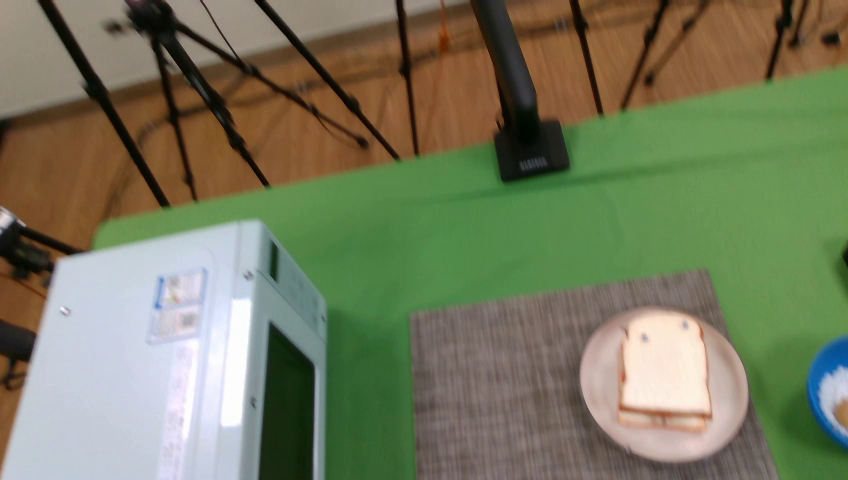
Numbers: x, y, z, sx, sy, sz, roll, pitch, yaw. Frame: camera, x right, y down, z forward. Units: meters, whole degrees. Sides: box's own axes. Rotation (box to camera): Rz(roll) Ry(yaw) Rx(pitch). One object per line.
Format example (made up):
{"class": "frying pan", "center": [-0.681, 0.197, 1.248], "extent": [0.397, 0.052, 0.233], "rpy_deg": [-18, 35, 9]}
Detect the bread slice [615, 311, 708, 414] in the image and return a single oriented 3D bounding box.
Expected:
{"class": "bread slice", "center": [0.295, 0.149, 0.759], "extent": [0.104, 0.019, 0.130], "rpy_deg": [-2, 56, 21]}

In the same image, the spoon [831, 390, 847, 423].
{"class": "spoon", "center": [0.568, 0.167, 0.685], "extent": [0.193, 0.022, 0.041], "rpy_deg": [-27, 49, 24]}

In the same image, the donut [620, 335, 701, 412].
{"class": "donut", "center": [0.301, 0.170, 0.776], "extent": [0.099, 0.049, 0.098], "rpy_deg": [-4, 61, 8]}

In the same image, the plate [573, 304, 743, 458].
{"class": "plate", "center": [0.305, 0.185, 0.803], "extent": [0.207, 0.039, 0.205], "rpy_deg": [-7, 57, 11]}

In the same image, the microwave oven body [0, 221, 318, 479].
{"class": "microwave oven body", "center": [-0.327, 0.246, 0.800], "extent": [0.326, 0.263, 0.437], "rpy_deg": [-11, 57, 7]}

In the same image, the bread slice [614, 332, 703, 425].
{"class": "bread slice", "center": [0.305, 0.179, 0.806], "extent": [0.107, 0.018, 0.133], "rpy_deg": [-2, 58, 13]}

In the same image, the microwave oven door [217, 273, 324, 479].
{"class": "microwave oven door", "center": [-0.182, 0.249, 0.753], "extent": [0.039, 0.246, 0.352], "rpy_deg": [-12, 56, 8]}

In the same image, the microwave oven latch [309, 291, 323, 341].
{"class": "microwave oven latch", "center": [-0.175, 0.121, 0.956], "extent": [0.030, 0.030, 0.078], "rpy_deg": [-11, 57, 7]}

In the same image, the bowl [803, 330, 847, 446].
{"class": "bowl", "center": [0.527, 0.190, 0.720], "extent": [0.151, 0.077, 0.150], "rpy_deg": [-7, 57, 11]}
